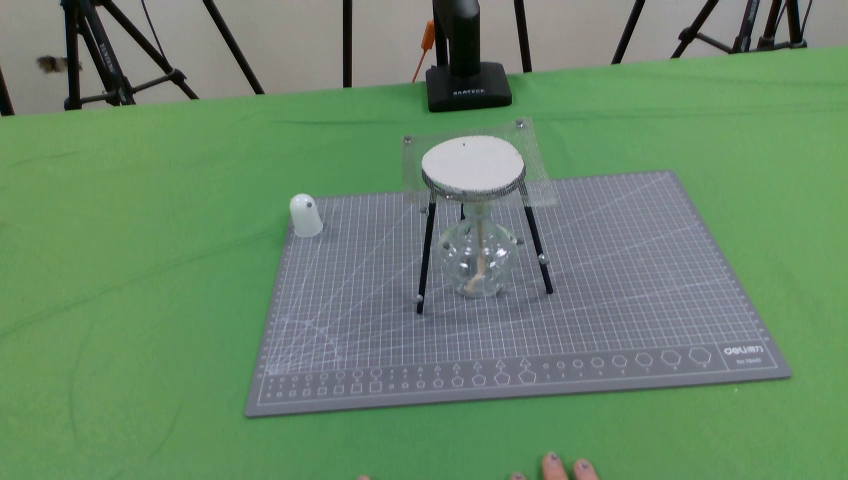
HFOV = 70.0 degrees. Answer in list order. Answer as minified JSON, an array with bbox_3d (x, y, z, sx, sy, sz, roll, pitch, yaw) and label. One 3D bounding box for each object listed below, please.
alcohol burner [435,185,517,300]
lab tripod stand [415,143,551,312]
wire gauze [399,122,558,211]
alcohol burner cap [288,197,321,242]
[{"bbox_3d":[0.048,-0.002,0.563,0.078,0.120,0.077,-1,40,2],"label":"alcohol burner"},{"bbox_3d":[0.049,-0.011,0.558,0.148,0.133,0.147,-2,39,2],"label":"lab tripod stand"},{"bbox_3d":[0.041,-0.063,0.514,0.125,0.011,0.120,-4,40,0],"label":"wire gauze"},{"bbox_3d":[-0.133,-0.026,0.665,0.034,0.048,0.033,-2,42,3],"label":"alcohol burner cap"}]
